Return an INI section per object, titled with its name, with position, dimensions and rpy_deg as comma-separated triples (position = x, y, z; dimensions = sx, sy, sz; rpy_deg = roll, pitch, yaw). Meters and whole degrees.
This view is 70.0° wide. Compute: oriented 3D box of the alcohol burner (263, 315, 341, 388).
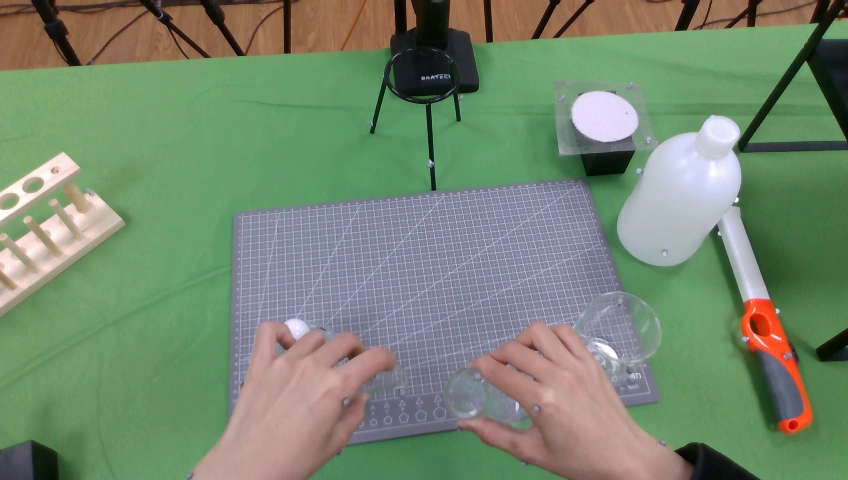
[alcohol burner]
position = -0.123, 0.104, 0.602
dimensions = 0.078, 0.120, 0.077
rpy_deg = 2, 58, -3

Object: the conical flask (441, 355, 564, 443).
[conical flask]
position = 0.059, 0.123, 0.488
dimensions = 0.075, 0.123, 0.075
rpy_deg = -12, 67, 30

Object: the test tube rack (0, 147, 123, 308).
[test tube rack]
position = -0.469, 0.011, 0.664
dimensions = 0.066, 0.086, 0.242
rpy_deg = 38, 66, 18

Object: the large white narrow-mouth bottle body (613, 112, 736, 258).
[large white narrow-mouth bottle body]
position = 0.282, -0.065, 0.669
dimensions = 0.102, 0.196, 0.101
rpy_deg = 1, 59, -1

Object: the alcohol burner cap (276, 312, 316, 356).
[alcohol burner cap]
position = -0.122, 0.086, 0.570
dimensions = 0.034, 0.048, 0.033
rpy_deg = -2, 60, 3

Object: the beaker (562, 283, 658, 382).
[beaker]
position = 0.183, 0.099, 0.623
dimensions = 0.084, 0.101, 0.073
rpy_deg = -1, 60, -1

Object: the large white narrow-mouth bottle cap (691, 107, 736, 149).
[large white narrow-mouth bottle cap]
position = 0.283, -0.111, 0.595
dimensions = 0.038, 0.024, 0.037
rpy_deg = 1, 60, -1

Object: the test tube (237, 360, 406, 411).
[test tube]
position = -0.082, 0.112, 0.462
dimensions = 0.150, 0.017, 0.017
rpy_deg = -16, 57, 21

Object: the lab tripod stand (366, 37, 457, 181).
[lab tripod stand]
position = -0.005, -0.168, 0.754
dimensions = 0.148, 0.132, 0.147
rpy_deg = 2, 61, -3

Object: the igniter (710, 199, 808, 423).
[igniter]
position = 0.375, 0.070, 0.691
dimensions = 0.057, 0.025, 0.274
rpy_deg = 3, 59, -12

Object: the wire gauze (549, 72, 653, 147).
[wire gauze]
position = 0.224, -0.170, 0.778
dimensions = 0.121, 0.011, 0.124
rpy_deg = 0, 60, -1
